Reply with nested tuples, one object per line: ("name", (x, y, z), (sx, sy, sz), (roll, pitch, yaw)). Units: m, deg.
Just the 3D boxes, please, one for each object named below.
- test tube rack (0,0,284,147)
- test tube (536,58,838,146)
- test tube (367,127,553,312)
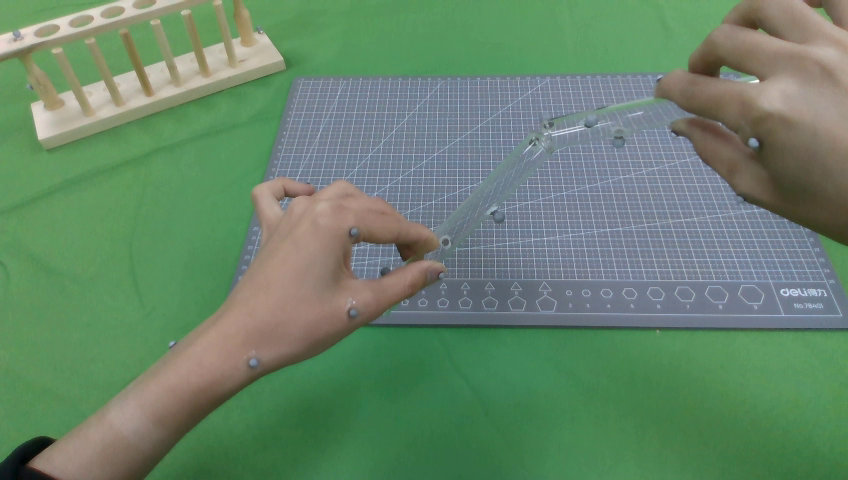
("test tube rack", (-0.270, -0.183, 0.591), (0.242, 0.086, 0.066), (-24, 53, -17))
("test tube", (0.129, -0.068, 0.297), (0.150, 0.017, 0.017), (-12, 50, -2))
("test tube", (0.014, -0.005, 0.333), (0.017, 0.151, 0.017), (30, 34, -22))
